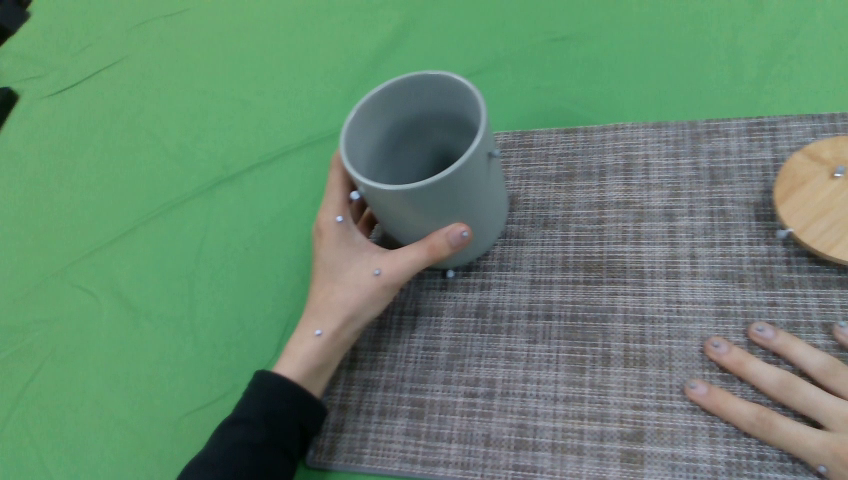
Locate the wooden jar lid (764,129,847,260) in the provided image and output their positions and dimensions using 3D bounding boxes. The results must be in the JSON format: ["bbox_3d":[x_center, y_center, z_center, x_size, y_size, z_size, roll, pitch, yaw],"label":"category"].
[{"bbox_3d":[0.299,-0.031,0.426,0.108,0.021,0.107,-7,60,13],"label":"wooden jar lid"}]

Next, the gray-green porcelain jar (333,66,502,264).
[{"bbox_3d":[0.003,-0.049,0.463,0.105,0.128,0.105,-7,59,13],"label":"gray-green porcelain jar"}]
